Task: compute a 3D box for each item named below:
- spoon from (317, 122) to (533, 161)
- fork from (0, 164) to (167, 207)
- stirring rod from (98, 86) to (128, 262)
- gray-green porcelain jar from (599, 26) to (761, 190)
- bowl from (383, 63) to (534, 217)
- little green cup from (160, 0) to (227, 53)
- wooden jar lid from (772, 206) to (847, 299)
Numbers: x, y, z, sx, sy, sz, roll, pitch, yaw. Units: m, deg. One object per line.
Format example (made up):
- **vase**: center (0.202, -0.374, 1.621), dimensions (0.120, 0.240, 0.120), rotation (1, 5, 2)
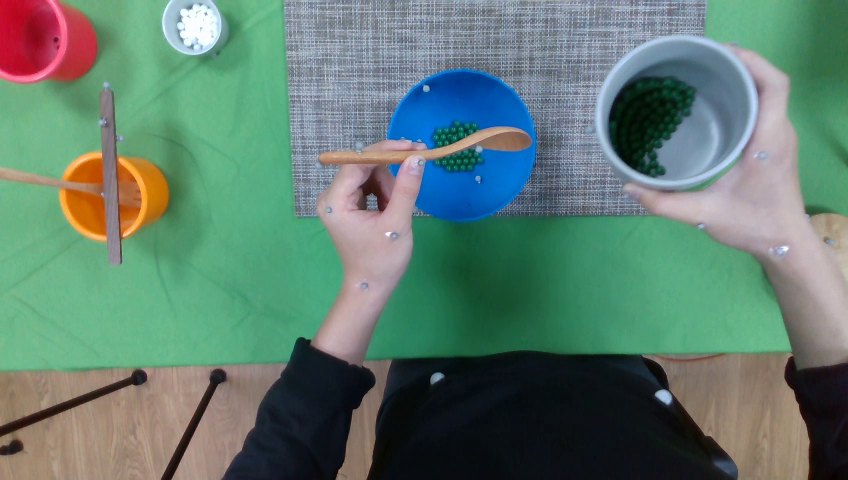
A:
- **spoon**: center (0.008, -0.074, 0.472), dimensions (0.194, 0.041, 0.021), rotation (-15, 87, -33)
- **fork**: center (-0.367, -0.061, 0.613), dimensions (0.209, 0.018, 0.028), rotation (9, 107, -46)
- **stirring rod**: center (-0.313, -0.064, 0.610), dimensions (0.014, 0.006, 0.176), rotation (1, 101, 1)
- **gray-green porcelain jar**: center (0.195, -0.095, 0.475), dimensions (0.105, 0.127, 0.106), rotation (0, 90, 19)
- **bowl**: center (0.035, -0.103, 0.636), dimensions (0.151, 0.076, 0.152), rotation (0, 101, 1)
- **little green cup**: center (-0.239, -0.226, 0.637), dimensions (0.061, 0.038, 0.062), rotation (0, 101, 1)
- **wooden jar lid**: center (0.449, 0.014, 0.691), dimensions (0.108, 0.020, 0.108), rotation (0, 101, 1)
